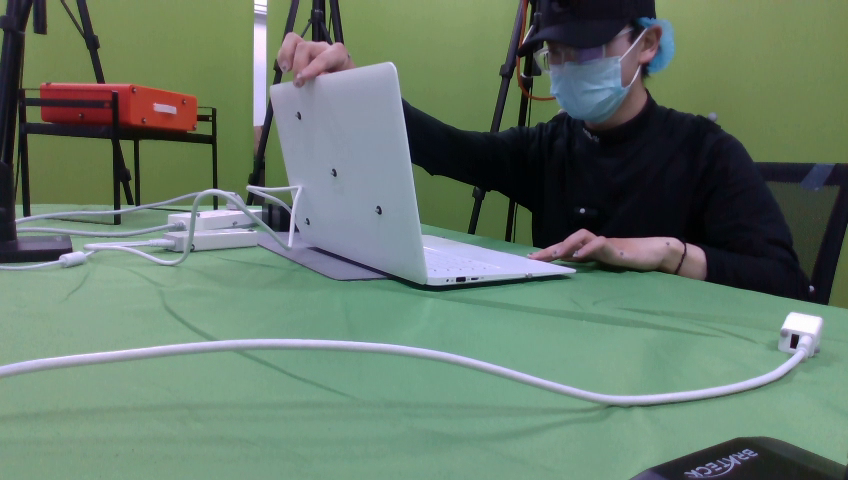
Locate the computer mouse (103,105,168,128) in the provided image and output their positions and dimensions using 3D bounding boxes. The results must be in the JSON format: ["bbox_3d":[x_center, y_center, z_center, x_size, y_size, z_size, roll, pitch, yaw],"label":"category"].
[{"bbox_3d":[-0.581,-0.249,1.223,0.118,0.041,0.062,2,3,-39],"label":"computer mouse"}]

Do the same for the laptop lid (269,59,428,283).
[{"bbox_3d":[-0.110,-0.087,0.753,0.013,0.241,0.355,-18,19,-31],"label":"laptop lid"}]

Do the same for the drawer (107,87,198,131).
[{"bbox_3d":[-0.609,-0.265,1.235,0.211,0.073,0.195,4,8,16],"label":"drawer"}]

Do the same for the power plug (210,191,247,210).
[{"bbox_3d":[-0.386,-0.071,1.204,0.072,0.052,0.035,8,11,25],"label":"power plug"}]

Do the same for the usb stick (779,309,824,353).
[{"bbox_3d":[0.311,0.072,0.496,0.027,0.021,0.059,8,15,34],"label":"usb stick"}]

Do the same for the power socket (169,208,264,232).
[{"bbox_3d":[-0.381,-0.038,1.128,0.072,0.032,0.227,3,8,17],"label":"power socket"}]

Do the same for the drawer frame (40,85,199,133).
[{"bbox_3d":[-0.612,-0.266,1.235,0.213,0.082,0.202,4,8,15],"label":"drawer frame"}]

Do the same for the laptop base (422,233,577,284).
[{"bbox_3d":[0.007,0.022,0.850,0.237,0.023,0.352,1,7,-34],"label":"laptop base"}]

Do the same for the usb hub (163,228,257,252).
[{"bbox_3d":[-0.314,-0.001,0.894,0.049,0.025,0.126,9,11,41],"label":"usb hub"}]
